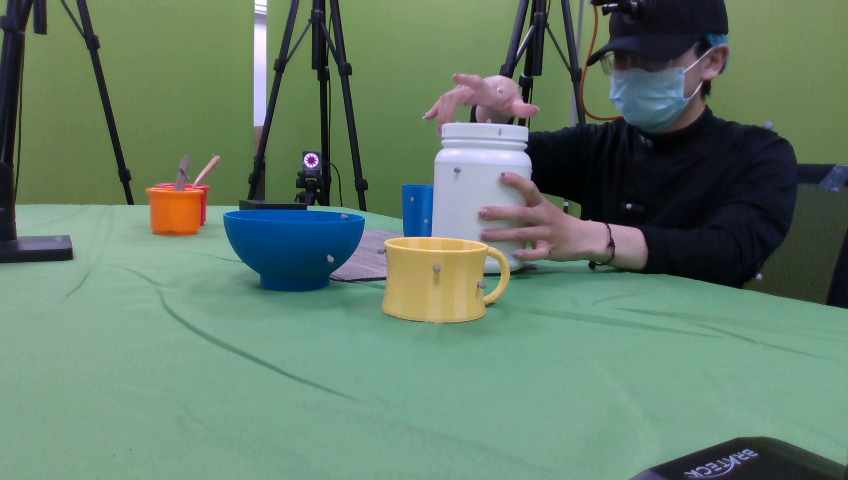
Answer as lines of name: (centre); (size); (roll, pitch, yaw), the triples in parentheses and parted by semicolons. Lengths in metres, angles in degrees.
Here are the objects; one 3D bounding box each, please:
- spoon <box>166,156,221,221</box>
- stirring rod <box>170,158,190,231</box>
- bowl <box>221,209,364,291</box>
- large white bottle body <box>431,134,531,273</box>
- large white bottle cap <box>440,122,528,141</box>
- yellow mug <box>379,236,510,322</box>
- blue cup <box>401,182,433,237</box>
spoon: (-0.447, -0.104, 1.192); (0.041, 0.022, 0.193); (7, 52, 14)
stirring rod: (-0.426, -0.083, 1.060); (0.014, 0.006, 0.175); (1, 49, -13)
bowl: (-0.142, 0.011, 0.660); (0.151, 0.077, 0.151); (2, 7, 0)
large white bottle body: (0.076, -0.056, 0.808); (0.131, 0.184, 0.130); (2, 7, 0)
large white bottle cap: (0.079, -0.142, 0.797); (0.115, 0.018, 0.115); (3, 7, 0)
yellow mug: (0.024, 0.034, 0.575); (0.131, 0.064, 0.099); (1, 7, -22)
blue cup: (0.002, -0.039, 0.966); (0.093, 0.100, 0.092); (4, 8, 0)
